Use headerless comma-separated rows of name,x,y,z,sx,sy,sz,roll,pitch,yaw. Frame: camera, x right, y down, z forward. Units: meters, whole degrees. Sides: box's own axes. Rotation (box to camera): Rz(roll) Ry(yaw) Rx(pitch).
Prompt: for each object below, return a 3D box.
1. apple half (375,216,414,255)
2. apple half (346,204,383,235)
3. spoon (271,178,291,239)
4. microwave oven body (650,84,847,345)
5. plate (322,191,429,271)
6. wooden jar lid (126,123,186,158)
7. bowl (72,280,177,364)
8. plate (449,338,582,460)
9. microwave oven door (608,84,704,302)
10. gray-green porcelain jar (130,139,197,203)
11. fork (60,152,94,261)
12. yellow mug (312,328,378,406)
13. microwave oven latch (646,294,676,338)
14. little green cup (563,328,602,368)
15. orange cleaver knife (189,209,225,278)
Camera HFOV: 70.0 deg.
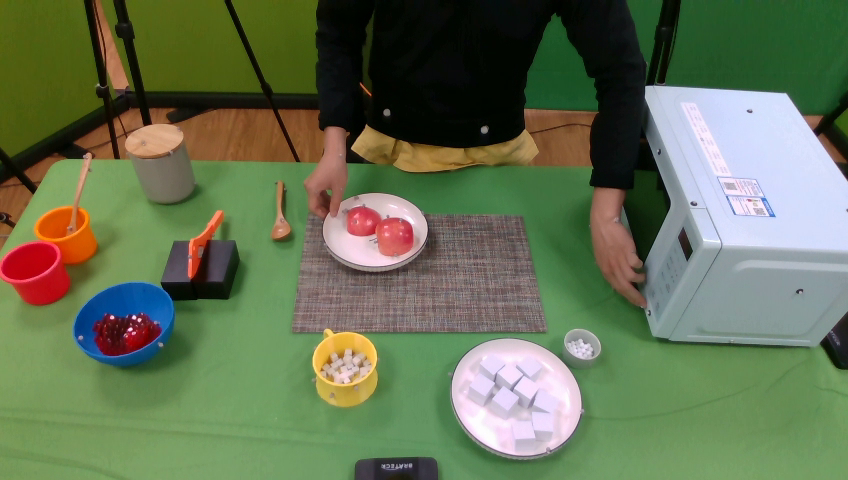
apple half,-0.056,-0.017,1.169,0.075,0.053,0.080,0,46,-7
apple half,-0.119,-0.049,1.207,0.081,0.033,0.081,3,50,-3
spoon,-0.293,-0.068,1.237,0.041,0.022,0.192,-19,48,7
microwave oven body,0.569,-0.054,1.116,0.326,0.261,0.439,2,46,-1
plate,-0.093,-0.015,1.185,0.209,0.038,0.208,2,46,-2
wooden jar lid,-0.519,-0.190,1.179,0.108,0.021,0.107,2,44,-2
bowl,-0.473,0.147,0.982,0.151,0.077,0.150,2,46,-2
plate,0.141,0.251,0.956,0.208,0.039,0.206,2,46,-2
microwave oven door,0.424,-0.096,1.138,0.039,0.245,0.353,2,46,-1
gray-green porcelain jar,-0.522,-0.148,1.225,0.106,0.127,0.105,2,47,-2
fork,-0.638,-0.063,1.119,0.028,0.018,0.207,12,90,7
yellow mug,-0.132,0.193,0.971,0.100,0.064,0.130,-22,51,-22
microwave oven latch,0.412,0.132,1.060,0.030,0.029,0.078,3,46,0
little green cup,0.265,0.184,1.025,0.061,0.039,0.061,1,46,-1
orange cleaver knife,-0.401,0.002,1.122,0.012,0.077,0.210,4,23,-4
